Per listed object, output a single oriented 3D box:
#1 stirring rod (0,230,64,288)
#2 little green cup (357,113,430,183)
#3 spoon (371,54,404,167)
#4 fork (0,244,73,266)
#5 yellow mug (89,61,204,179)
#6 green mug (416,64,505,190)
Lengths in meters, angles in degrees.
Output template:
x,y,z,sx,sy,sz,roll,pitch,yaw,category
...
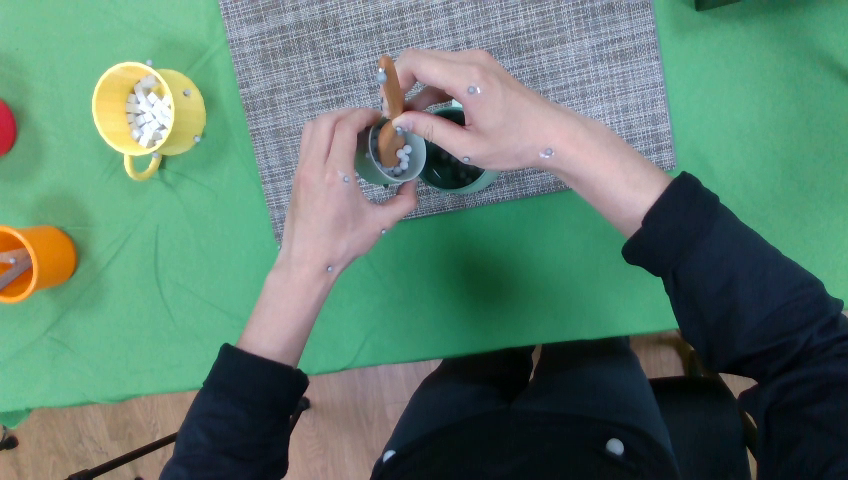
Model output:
x,y,z,sx,sy,sz,roll,pitch,yaw,category
-0.502,0.050,0.712,0.014,0.006,0.175,40,62,0,stirring rod
-0.029,-0.081,0.537,0.062,0.038,0.061,-3,98,-21,little green cup
-0.026,-0.094,0.455,0.021,0.194,0.041,23,82,0,spoon
-0.530,0.018,0.706,0.208,0.018,0.028,0,99,-34,fork
-0.314,-0.132,0.686,0.100,0.064,0.131,15,103,7,yellow mug
0.034,-0.111,0.604,0.092,0.105,0.125,7,100,10,green mug
